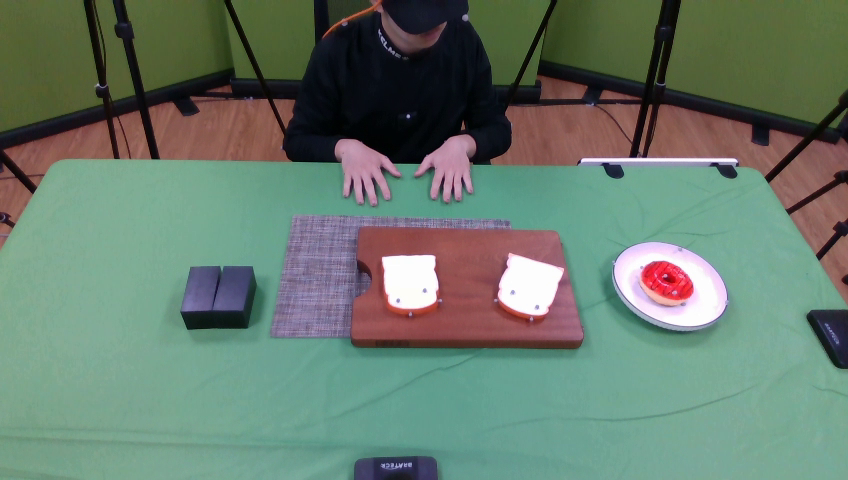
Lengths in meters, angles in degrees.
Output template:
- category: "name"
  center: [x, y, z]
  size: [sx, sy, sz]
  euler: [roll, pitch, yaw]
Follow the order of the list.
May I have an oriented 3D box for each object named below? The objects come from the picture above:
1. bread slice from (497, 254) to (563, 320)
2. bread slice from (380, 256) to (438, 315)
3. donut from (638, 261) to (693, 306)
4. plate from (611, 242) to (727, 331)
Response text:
- category: "bread slice"
  center: [0.189, 0.087, 1.095]
  size: [0.107, 0.018, 0.134]
  euler: [15, 45, 10]
- category: "bread slice"
  center: [-0.024, 0.079, 1.087]
  size: [0.105, 0.019, 0.130]
  euler: [-3, 45, -5]
- category: "donut"
  center: [0.451, 0.081, 1.131]
  size: [0.099, 0.048, 0.098]
  euler: [4, 44, -3]
- category: "plate"
  center: [0.455, 0.090, 1.138]
  size: [0.209, 0.038, 0.208]
  euler: [3, 45, -2]
